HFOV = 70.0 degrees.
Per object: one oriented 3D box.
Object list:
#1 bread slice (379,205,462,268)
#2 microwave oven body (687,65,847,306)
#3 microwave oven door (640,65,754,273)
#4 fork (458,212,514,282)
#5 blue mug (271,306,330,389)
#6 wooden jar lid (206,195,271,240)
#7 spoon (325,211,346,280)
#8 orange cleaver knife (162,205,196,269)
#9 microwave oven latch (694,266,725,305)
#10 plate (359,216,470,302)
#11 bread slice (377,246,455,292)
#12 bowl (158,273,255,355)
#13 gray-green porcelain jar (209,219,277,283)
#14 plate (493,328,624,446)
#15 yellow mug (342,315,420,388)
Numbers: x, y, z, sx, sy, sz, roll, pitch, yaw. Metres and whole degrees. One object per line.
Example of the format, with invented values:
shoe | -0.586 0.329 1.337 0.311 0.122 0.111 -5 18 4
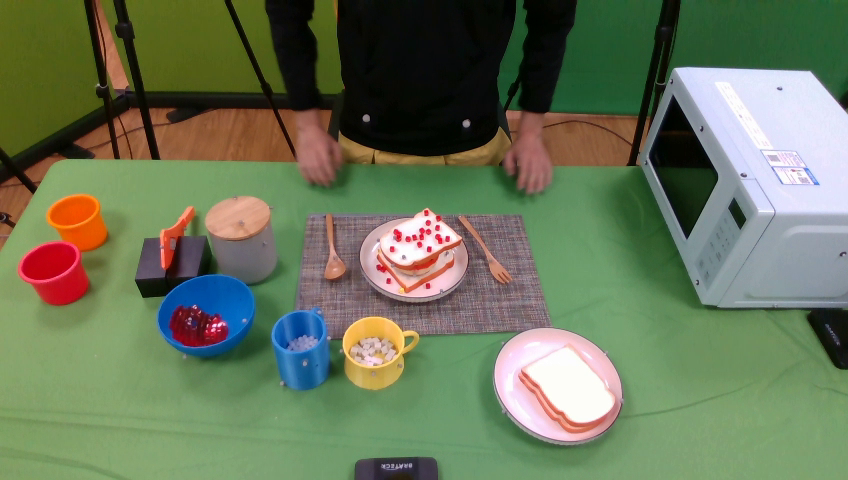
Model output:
bread slice | -0.012 -0.001 1.097 0.134 0.018 0.106 -33 52 -23
microwave oven body | 0.669 -0.111 1.176 0.326 0.261 0.439 0 46 -3
microwave oven door | 0.523 -0.147 1.193 0.039 0.245 0.353 0 47 -3
fork | 0.116 0.011 1.189 0.028 0.019 0.206 -21 53 -13
blue mug | -0.188 0.163 0.969 0.082 0.106 0.116 15 47 10
wooden jar lid | -0.319 -0.036 1.046 0.108 0.021 0.107 1 44 -1
spoon | -0.177 0.006 1.170 0.041 0.022 0.192 -20 48 6
orange cleaver knife | -0.454 -0.010 1.129 0.012 0.077 0.210 -1 20 -5
microwave oven latch | 0.523 0.082 1.115 0.030 0.029 0.078 3 46 0
plate | -0.019 0.038 1.140 0.209 0.038 0.208 2 46 -2
bread slice | -0.010 0.034 1.149 0.131 0.019 0.104 -28 56 -24
bowl | -0.351 0.136 1.001 0.151 0.077 0.150 2 46 -2
gray-green porcelain jar | -0.323 0.007 1.092 0.106 0.127 0.105 2 46 -2
plate | 0.213 0.236 0.974 0.208 0.039 0.206 2 46 -2
yellow mug | -0.068 0.177 0.990 0.131 0.064 0.099 -15 50 -19
